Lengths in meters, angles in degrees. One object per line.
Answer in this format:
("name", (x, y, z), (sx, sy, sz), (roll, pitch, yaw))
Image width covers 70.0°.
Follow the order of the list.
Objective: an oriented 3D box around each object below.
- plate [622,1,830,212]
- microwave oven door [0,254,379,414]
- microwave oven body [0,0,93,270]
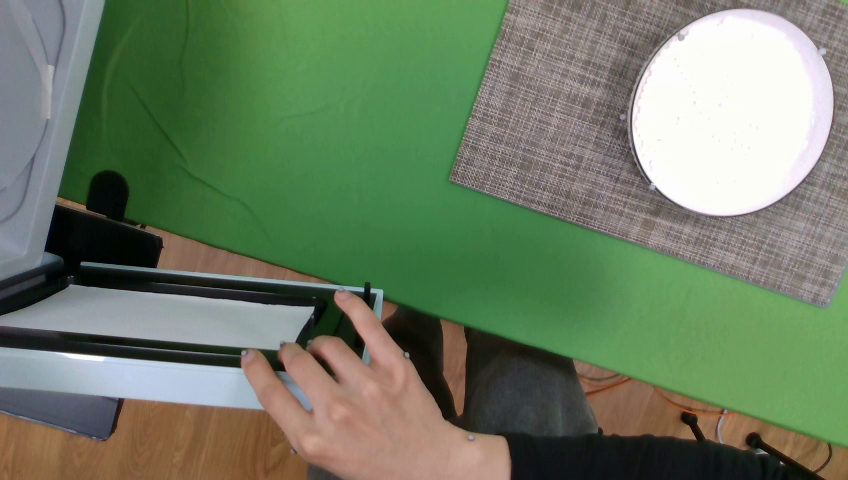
("plate", (0.305, -0.133, 0.624), (0.209, 0.038, 0.209), (0, 101, -1))
("microwave oven door", (-0.223, 0.071, 0.530), (0.356, 0.243, 0.039), (6, 100, -3))
("microwave oven body", (-0.458, -0.190, 0.475), (0.327, 0.259, 0.442), (19, 100, -6))
